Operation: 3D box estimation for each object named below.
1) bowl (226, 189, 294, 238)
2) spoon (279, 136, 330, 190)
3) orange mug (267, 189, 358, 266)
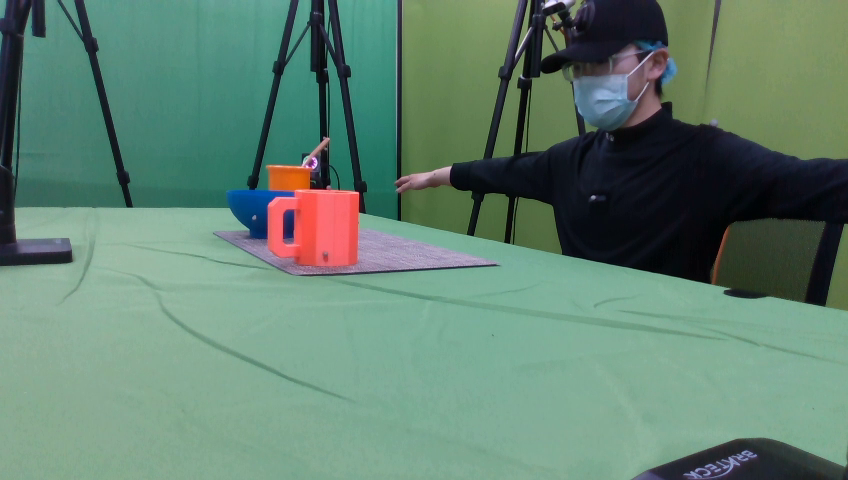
[{"bbox_3d":[-0.264,-0.046,1.050,0.151,0.077,0.151,2,7,0],"label":"bowl"},{"bbox_3d":[-0.245,-0.150,1.234,0.041,0.194,0.022,8,-35,33],"label":"spoon"},{"bbox_3d":[-0.145,-0.019,0.797,0.127,0.100,0.083,2,6,-37],"label":"orange mug"}]
